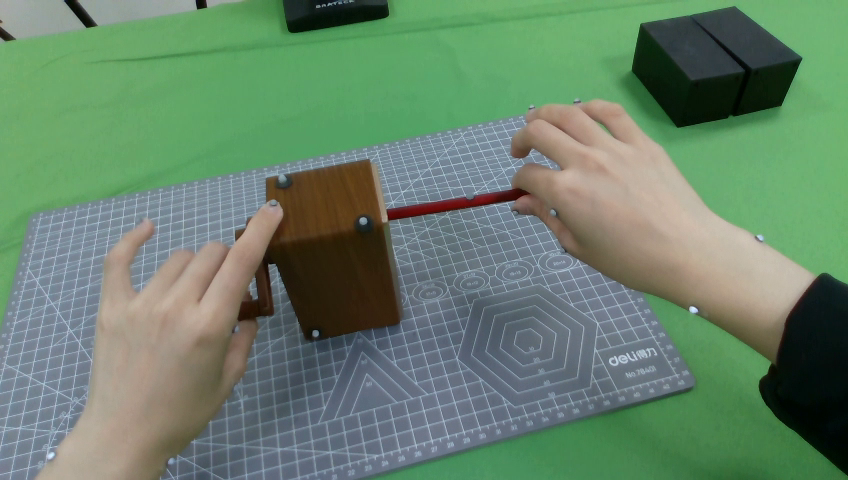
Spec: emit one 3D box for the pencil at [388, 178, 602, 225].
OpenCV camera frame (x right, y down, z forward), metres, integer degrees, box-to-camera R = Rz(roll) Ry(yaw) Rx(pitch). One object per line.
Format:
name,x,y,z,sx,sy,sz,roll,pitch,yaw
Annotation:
pencil,0.020,-0.020,0.386,0.194,0.012,0.012,-9,48,-5

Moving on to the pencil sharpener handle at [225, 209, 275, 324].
pencil sharpener handle,-0.108,0.016,0.369,0.031,0.036,0.067,-11,73,-4

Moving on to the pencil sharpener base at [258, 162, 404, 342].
pencil sharpener base,-0.059,0.011,0.398,0.077,0.108,0.060,-11,48,-4
